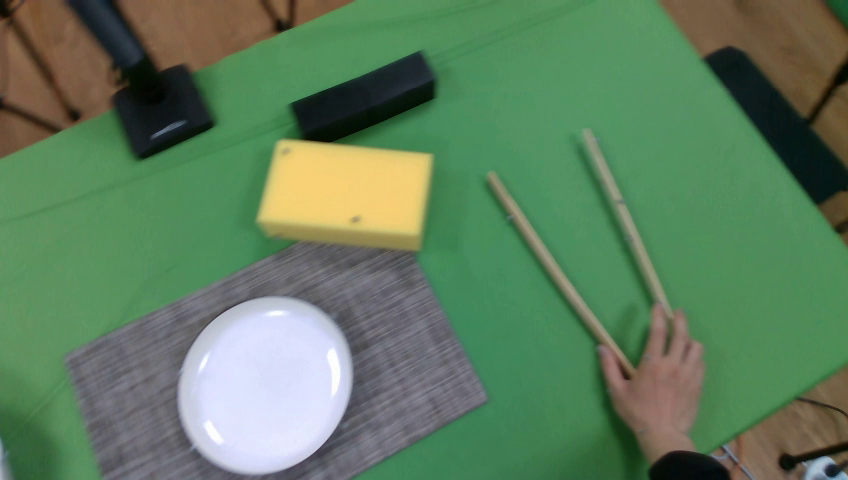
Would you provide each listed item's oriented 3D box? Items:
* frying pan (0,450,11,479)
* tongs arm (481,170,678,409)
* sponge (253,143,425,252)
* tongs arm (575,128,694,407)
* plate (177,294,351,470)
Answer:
[{"bbox_3d":[-0.539,0.393,0.630,0.307,0.103,0.483,-34,67,-10],"label":"frying pan"},{"bbox_3d":[0.189,0.059,0.786,0.028,0.028,0.385,-32,75,-14],"label":"tongs arm"},{"bbox_3d":[-0.107,-0.056,0.803,0.207,0.061,0.117,5,70,3],"label":"sponge"},{"bbox_3d":[0.262,0.026,0.795,0.051,0.026,0.382,-20,74,-7],"label":"tongs arm"},{"bbox_3d":[-0.191,0.170,0.738,0.208,0.039,0.206,0,72,0],"label":"plate"}]
